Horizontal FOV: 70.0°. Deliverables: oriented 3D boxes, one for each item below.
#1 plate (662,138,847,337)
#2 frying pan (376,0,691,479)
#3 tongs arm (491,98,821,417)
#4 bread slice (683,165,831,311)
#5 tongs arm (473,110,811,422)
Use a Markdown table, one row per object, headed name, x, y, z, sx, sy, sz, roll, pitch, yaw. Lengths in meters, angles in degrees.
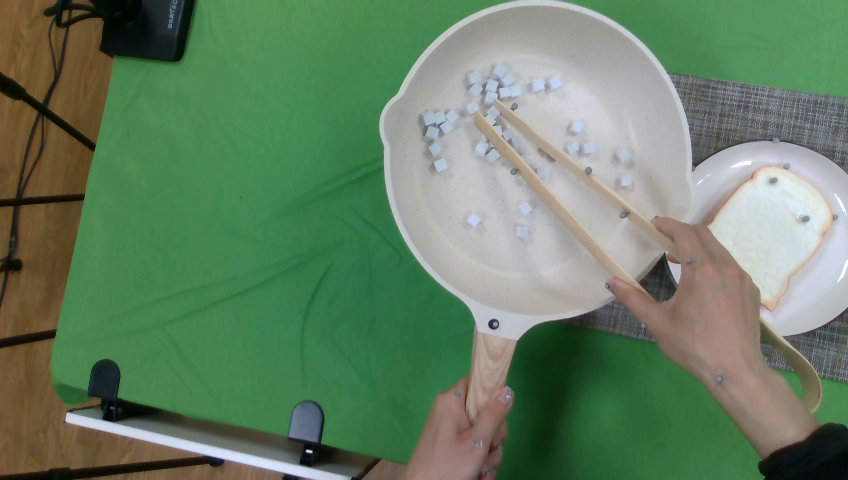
| name | x | y | z | sx | sy | sz | roll | pitch | yaw |
| --- | --- | --- | --- | --- | --- | --- | --- | --- | --- |
| plate | 0.356 | -0.003 | 0.639 | 0.207 | 0.039 | 0.207 | -1 | 85 | 9 |
| frying pan | 0.078 | 0.028 | 0.569 | 0.308 | 0.102 | 0.486 | 15 | 83 | -8 |
| tongs arm | 0.190 | 0.005 | 0.545 | 0.383 | 0.027 | 0.050 | 42 | 79 | 14 |
| bread slice | 0.355 | -0.011 | 0.641 | 0.106 | 0.018 | 0.134 | 35 | 92 | 9 |
| tongs arm | 0.176 | 0.016 | 0.542 | 0.028 | 0.028 | 0.385 | -39 | 75 | -13 |
